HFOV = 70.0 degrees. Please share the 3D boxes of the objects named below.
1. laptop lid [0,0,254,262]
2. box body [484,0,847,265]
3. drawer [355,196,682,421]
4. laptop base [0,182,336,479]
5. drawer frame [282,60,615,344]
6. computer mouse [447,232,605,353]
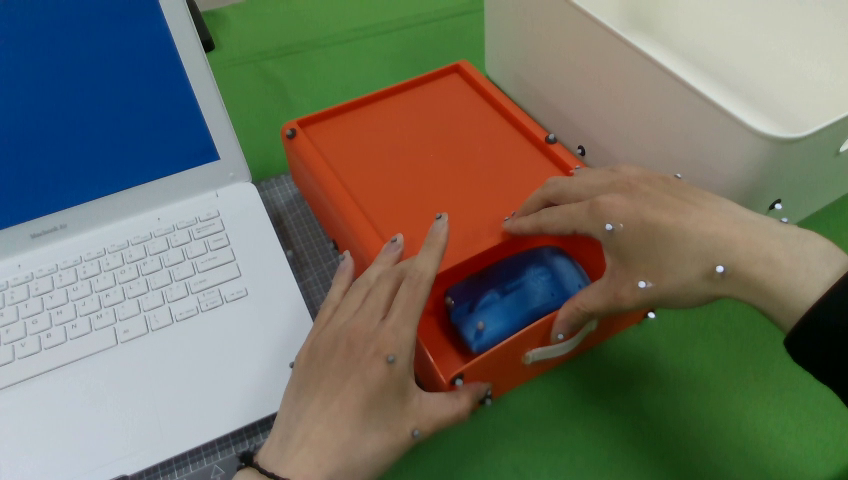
[{"bbox_3d":[-0.348,-0.096,0.492,0.357,0.243,0.013,-22,23,-14],"label":"laptop lid"},{"bbox_3d":[0.247,-0.175,0.574,0.254,0.162,0.360,-25,54,-18],"label":"box body"},{"bbox_3d":[0.053,0.007,0.484,0.195,0.074,0.209,-24,52,-17],"label":"drawer"},{"bbox_3d":[-0.270,0.089,0.470,0.355,0.023,0.233,-21,56,-15],"label":"laptop base"},{"bbox_3d":[0.014,-0.045,0.525,0.202,0.083,0.211,-26,54,-19],"label":"drawer frame"},{"bbox_3d":[0.077,0.038,0.464,0.117,0.041,0.062,-24,60,-2],"label":"computer mouse"}]
